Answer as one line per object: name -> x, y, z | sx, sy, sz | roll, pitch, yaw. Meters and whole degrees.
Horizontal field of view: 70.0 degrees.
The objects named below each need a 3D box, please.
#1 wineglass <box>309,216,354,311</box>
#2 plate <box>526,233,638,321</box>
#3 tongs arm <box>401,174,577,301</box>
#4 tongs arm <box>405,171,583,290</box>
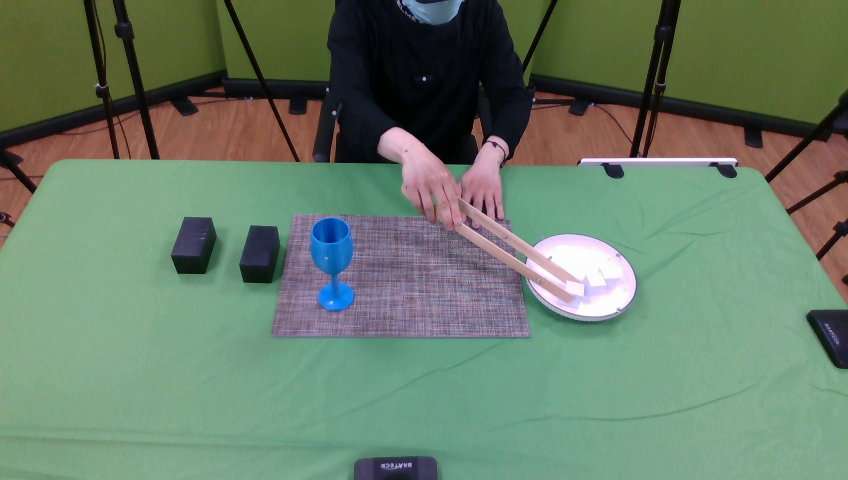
wineglass -> -0.155, 0.043, 1.032 | 0.074, 0.173, 0.073 | 2, 46, -2
plate -> 0.292, 0.071, 1.135 | 0.209, 0.038, 0.208 | 2, 46, -2
tongs arm -> 0.111, -0.005, 1.114 | 0.387, 0.028, 0.028 | 34, 48, 10
tongs arm -> 0.123, -0.017, 1.132 | 0.384, 0.026, 0.050 | 37, 45, 13
